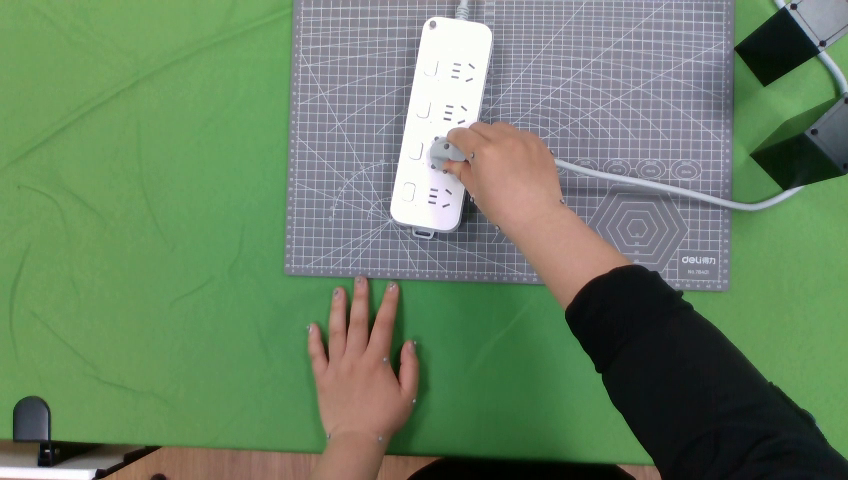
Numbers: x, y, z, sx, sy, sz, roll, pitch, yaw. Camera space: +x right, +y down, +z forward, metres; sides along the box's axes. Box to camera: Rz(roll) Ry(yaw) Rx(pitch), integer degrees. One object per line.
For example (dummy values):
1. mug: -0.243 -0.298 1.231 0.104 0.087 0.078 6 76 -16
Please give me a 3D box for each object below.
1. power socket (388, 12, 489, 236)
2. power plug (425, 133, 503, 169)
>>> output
1. power socket: 0.014 -0.117 0.608 0.072 0.032 0.226 10 89 3
2. power plug: 0.036 -0.080 0.586 0.072 0.053 0.035 22 89 4
